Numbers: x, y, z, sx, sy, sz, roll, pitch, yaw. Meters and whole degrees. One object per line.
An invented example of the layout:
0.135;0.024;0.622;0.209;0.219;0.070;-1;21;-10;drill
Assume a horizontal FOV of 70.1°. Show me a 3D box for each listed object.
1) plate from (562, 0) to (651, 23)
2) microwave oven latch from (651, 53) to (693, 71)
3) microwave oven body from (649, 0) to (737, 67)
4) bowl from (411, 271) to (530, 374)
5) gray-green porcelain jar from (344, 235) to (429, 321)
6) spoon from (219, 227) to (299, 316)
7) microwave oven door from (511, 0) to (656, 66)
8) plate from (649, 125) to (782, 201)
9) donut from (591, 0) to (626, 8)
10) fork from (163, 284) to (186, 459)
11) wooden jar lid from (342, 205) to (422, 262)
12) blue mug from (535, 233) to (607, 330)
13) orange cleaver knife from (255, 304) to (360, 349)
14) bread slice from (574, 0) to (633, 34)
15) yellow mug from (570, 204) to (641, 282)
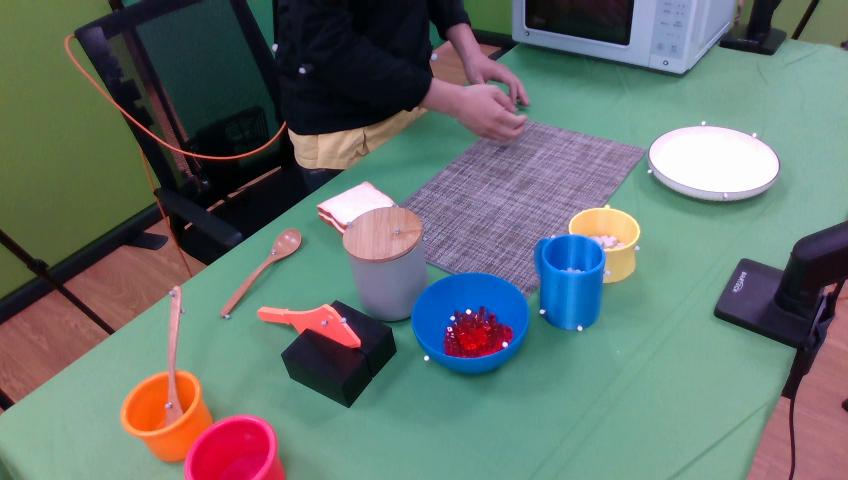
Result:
0.439;-0.572;1.456;0.209;0.038;0.208;-6;44;6;plate
0.532;-0.386;1.301;0.078;0.029;0.030;27;52;34;microwave oven latch
0.475;-0.602;1.411;0.438;0.261;0.327;23;50;32;microwave oven body
0.062;0.120;0.780;0.151;0.077;0.150;-4;40;4;bowl
-0.049;0.042;0.849;0.106;0.127;0.105;-4;41;4;gray-green porcelain jar
-0.261;0.046;0.954;0.041;0.021;0.194;26;48;11;spoon
0.351;-0.539;1.349;0.353;0.245;0.039;24;50;31;microwave oven door
0.493;-0.128;1.036;0.207;0.039;0.206;-4;41;4;plate
0.437;-0.589;1.433;0.099;0.048;0.098;-3;53;4;donut
-0.303;0.157;0.733;0.028;0.019;0.207;-3;84;12;fork
-0.055;-0.006;0.808;0.108;0.021;0.108;-6;41;6;wooden jar lid
0.191;0.048;0.824;0.082;0.106;0.115;-26;44;-20;blue mug
-0.161;0.115;0.813;0.210;0.077;0.012;-4;32;47;orange cleaver knife
0.431;-0.563;1.476;0.105;0.019;0.131;-30;68;-21;bread slice
0.268;-0.005;0.904;0.099;0.064;0.130;7;41;15;yellow mug
